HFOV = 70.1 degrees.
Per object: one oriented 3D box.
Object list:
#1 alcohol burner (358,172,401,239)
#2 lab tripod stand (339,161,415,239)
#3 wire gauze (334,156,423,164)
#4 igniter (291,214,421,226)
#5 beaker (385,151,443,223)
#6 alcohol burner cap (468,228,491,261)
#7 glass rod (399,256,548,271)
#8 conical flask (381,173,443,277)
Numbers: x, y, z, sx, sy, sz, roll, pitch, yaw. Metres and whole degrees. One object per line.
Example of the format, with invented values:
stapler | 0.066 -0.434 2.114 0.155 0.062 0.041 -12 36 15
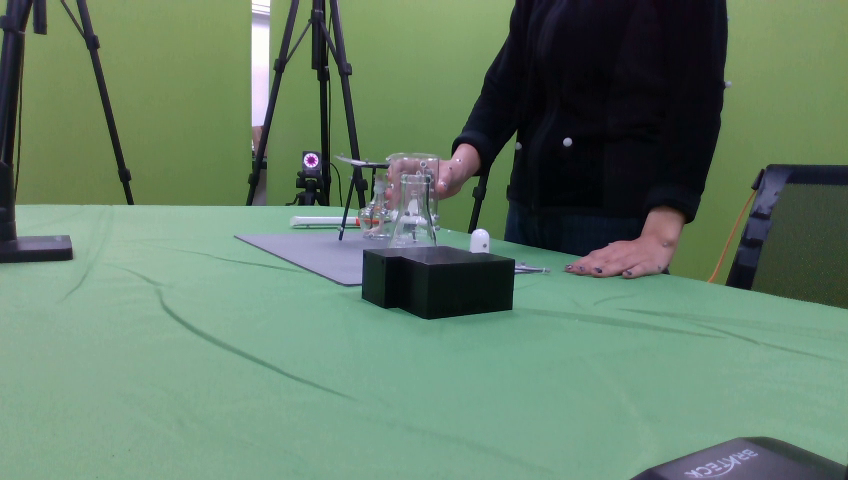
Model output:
alcohol burner | -0.078 -0.061 1.065 0.078 0.119 0.078 4 9 0
lab tripod stand | -0.082 -0.070 1.060 0.148 0.131 0.148 4 6 0
wire gauze | -0.081 -0.137 1.051 0.122 0.011 0.124 0 8 -30
igniter | -0.135 -0.041 1.250 0.278 0.025 0.057 -1 -3 -28
beaker | -0.015 -0.076 0.878 0.084 0.100 0.074 1 2 -11
alcohol burner cap | 0.082 0.006 0.878 0.034 0.048 0.034 3 7 0
glass rod | 0.064 0.030 0.806 0.199 0.008 0.008 4 7 10
conical flask | -0.012 -0.020 0.732 0.075 0.122 0.075 2 8 0
